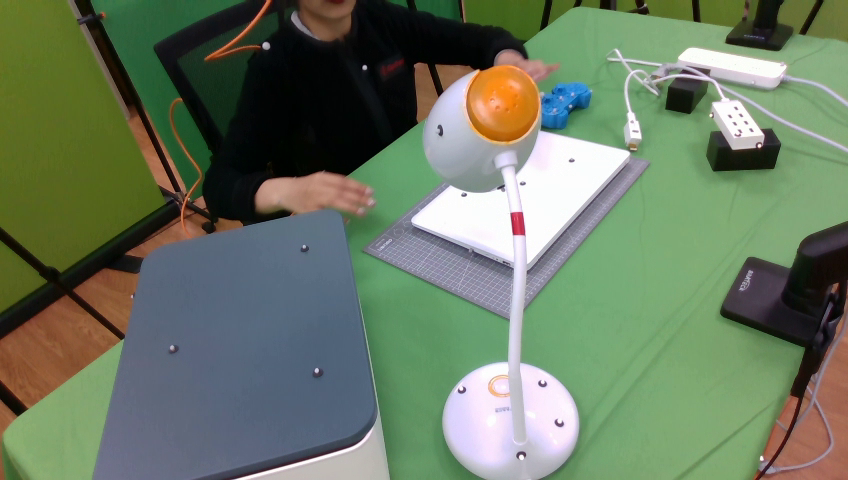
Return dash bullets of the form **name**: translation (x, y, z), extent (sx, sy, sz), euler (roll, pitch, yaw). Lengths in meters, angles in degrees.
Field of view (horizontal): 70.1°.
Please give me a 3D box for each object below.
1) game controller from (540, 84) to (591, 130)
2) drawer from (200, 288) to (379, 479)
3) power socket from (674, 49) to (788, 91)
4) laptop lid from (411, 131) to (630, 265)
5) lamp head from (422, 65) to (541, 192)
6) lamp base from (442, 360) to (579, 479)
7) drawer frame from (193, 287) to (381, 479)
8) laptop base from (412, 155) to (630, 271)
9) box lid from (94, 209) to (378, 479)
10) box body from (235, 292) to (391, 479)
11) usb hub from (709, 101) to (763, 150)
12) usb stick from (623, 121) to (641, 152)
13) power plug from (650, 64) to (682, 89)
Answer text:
- **game controller**: translation (0.277, -0.282, 1.251), extent (0.096, 0.052, 0.155), euler (27, 52, 30)
- **drawer**: translation (-0.172, 0.176, 0.760), extent (0.195, 0.073, 0.210), euler (-13, 42, -8)
- **power socket**: translation (0.646, -0.363, 1.284), extent (0.225, 0.033, 0.072), euler (26, 52, 34)
- **laptop lid**: translation (0.172, -0.094, 1.050), extent (0.239, 0.013, 0.358), euler (23, 49, 36)
- **lamp head**: translation (0.060, -0.106, 0.560), extent (0.113, 0.112, 0.122), euler (-16, 0, -8)
- **lamp base**: translation (0.094, 0.158, 0.657), extent (0.161, 0.181, 0.178), euler (-13, 42, -5)
- **drawer frame**: translation (-0.172, 0.176, 0.755), extent (0.202, 0.083, 0.212), euler (-14, 42, -7)
- **laptop base**: translation (0.176, -0.085, 1.056), extent (0.233, 0.023, 0.355), euler (20, 48, 36)
- **box lid**: translation (-0.202, 0.094, 0.680), extent (0.264, 0.015, 0.368), euler (-13, 39, -5)
- **box body**: translation (-0.190, 0.161, 0.723), extent (0.255, 0.161, 0.361), euler (-13, 40, -5)
- **usb hub**: translation (0.534, -0.199, 1.040), extent (0.049, 0.025, 0.124), euler (-5, 39, 8)
- **usb stick**: translation (0.389, -0.192, 1.129), extent (0.021, 0.027, 0.059), euler (7, 63, -7)
- **power plug**: translation (0.498, -0.341, 1.263), extent (0.035, 0.052, 0.072), euler (20, 10, -7)
